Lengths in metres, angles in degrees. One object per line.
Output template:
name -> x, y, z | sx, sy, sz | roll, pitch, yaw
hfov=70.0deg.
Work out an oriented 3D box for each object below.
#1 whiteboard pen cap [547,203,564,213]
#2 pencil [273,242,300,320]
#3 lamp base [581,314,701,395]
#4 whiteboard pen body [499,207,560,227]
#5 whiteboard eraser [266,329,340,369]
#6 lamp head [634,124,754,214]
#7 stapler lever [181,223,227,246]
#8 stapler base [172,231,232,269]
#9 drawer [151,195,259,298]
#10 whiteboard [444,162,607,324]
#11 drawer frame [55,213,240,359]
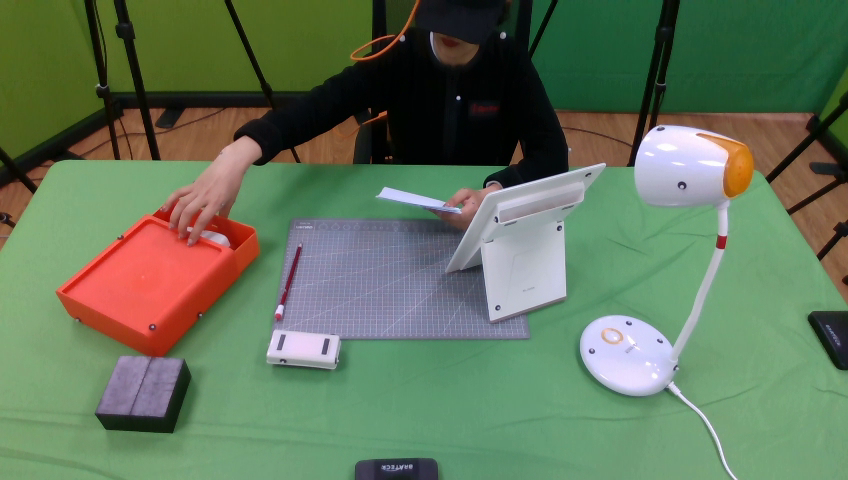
whiteboard pen cap -> 0.277, -0.066, 1.275 | 0.033, 0.018, 0.018 | -19, 50, -15
pencil -> -0.250, 0.071, 1.115 | 0.012, 0.012, 0.193 | 5, 43, 1
lamp base -> 0.361, 0.144, 0.973 | 0.178, 0.181, 0.160 | 34, 53, 23
whiteboard pen body -> 0.222, -0.051, 1.259 | 0.141, 0.017, 0.017 | -15, 49, -15
whiteboard eraser -> -0.198, 0.181, 0.994 | 0.113, 0.042, 0.055 | 5, 45, 1
lamp head -> 0.351, -0.089, 0.776 | 0.112, 0.113, 0.122 | -30, 30, -28
stapler lever -> -0.414, -0.010, 1.125 | 0.117, 0.040, 0.027 | 26, 32, 24
stapler base -> -0.417, 0.013, 1.138 | 0.130, 0.024, 0.041 | 26, 32, 24
drawer -> -0.442, 0.033, 1.093 | 0.194, 0.073, 0.211 | 21, 49, 15
whiteboard -> 0.186, 0.025, 1.029 | 0.217, 0.306, 0.143 | -15, 68, -18
drawer frame -> -0.469, 0.072, 1.050 | 0.201, 0.083, 0.213 | 21, 49, 14
